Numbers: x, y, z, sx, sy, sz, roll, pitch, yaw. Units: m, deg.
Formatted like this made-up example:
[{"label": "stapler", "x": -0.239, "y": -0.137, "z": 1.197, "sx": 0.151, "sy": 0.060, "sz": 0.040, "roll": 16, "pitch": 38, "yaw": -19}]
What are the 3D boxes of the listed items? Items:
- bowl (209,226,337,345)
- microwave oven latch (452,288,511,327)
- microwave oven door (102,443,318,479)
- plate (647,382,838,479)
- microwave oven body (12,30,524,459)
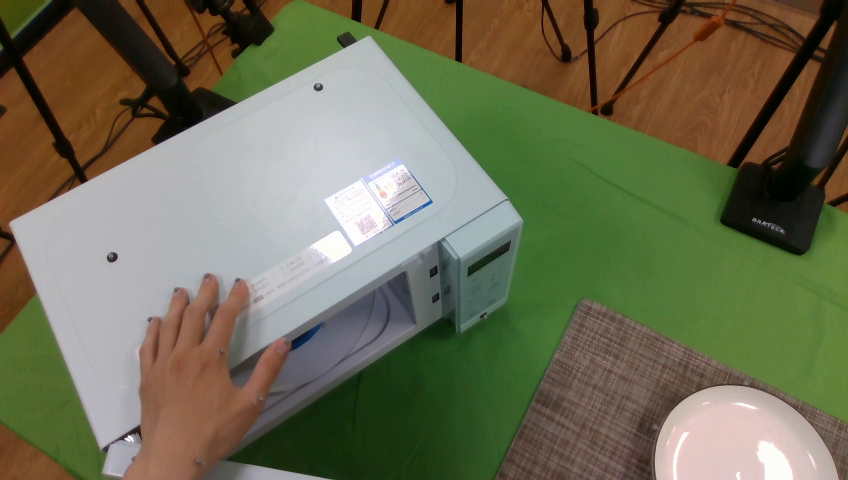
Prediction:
[{"label": "bowl", "x": -0.174, "y": 0.066, "z": 0.738, "sx": 0.151, "sy": 0.077, "sz": 0.150, "roll": -1, "pitch": 60, "yaw": 2}, {"label": "microwave oven latch", "x": 0.075, "y": 0.080, "z": 0.789, "sx": 0.079, "sy": 0.030, "sz": 0.030, "roll": -30, "pitch": 67, "yaw": -11}, {"label": "microwave oven door", "x": -0.091, "y": 0.255, "z": 0.600, "sx": 0.355, "sy": 0.245, "sz": 0.039, "roll": 8, "pitch": 65, "yaw": 6}, {"label": "plate", "x": 0.361, "y": 0.271, "z": 0.700, "sx": 0.207, "sy": 0.039, "sz": 0.206, "roll": -1, "pitch": 64, "yaw": 2}, {"label": "microwave oven body", "x": -0.160, "y": 0.019, "z": 0.722, "sx": 0.442, "sy": 0.262, "sz": 0.323, "roll": -32, "pitch": 67, "yaw": -11}]
